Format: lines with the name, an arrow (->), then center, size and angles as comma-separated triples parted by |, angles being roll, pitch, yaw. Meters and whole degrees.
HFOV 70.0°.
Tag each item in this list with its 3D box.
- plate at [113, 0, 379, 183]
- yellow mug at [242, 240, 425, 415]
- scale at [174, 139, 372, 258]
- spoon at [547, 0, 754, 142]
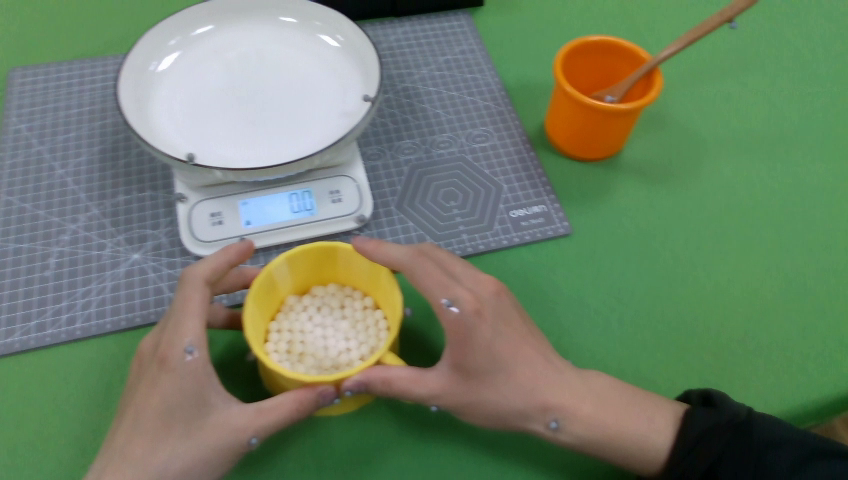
plate -> -0.141, -0.125, 0.501 | 0.209, 0.038, 0.207 | 3, 57, -4
yellow mug -> -0.053, 0.066, 0.403 | 0.130, 0.064, 0.099 | 32, 59, 16
scale -> -0.135, -0.084, 0.514 | 0.149, 0.032, 0.199 | -12, 59, -11
spoon -> 0.189, -0.146, 0.512 | 0.022, 0.194, 0.041 | 16, 46, -50
